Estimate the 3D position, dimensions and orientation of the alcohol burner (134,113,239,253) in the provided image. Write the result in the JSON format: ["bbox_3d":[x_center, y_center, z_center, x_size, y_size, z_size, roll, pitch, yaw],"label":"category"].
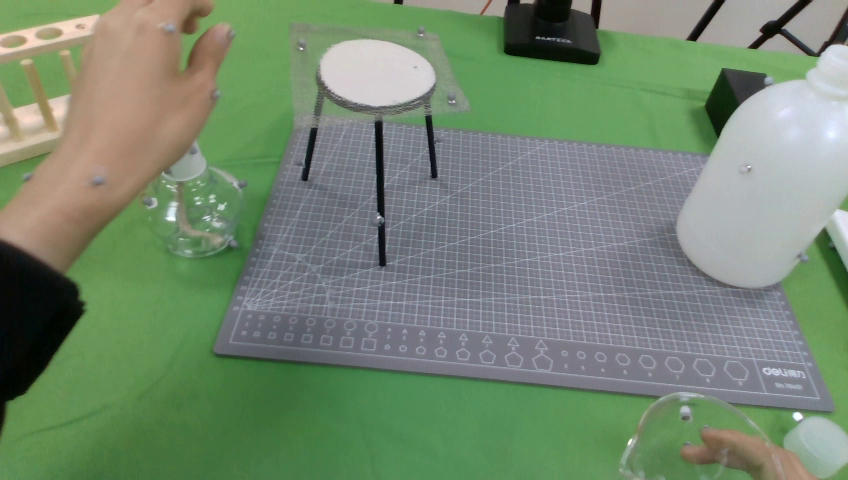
[{"bbox_3d":[-0.184,-0.047,0.463,0.078,0.120,0.077,5,45,-4],"label":"alcohol burner"}]

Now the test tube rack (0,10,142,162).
[{"bbox_3d":[-0.389,-0.120,0.526,0.242,0.086,0.066,-26,55,-28],"label":"test tube rack"}]

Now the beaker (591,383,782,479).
[{"bbox_3d":[0.134,0.139,0.339,0.084,0.101,0.073,-3,47,-8],"label":"beaker"}]

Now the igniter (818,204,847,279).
[{"bbox_3d":[0.372,0.071,0.481,0.057,0.025,0.274,15,46,-7],"label":"igniter"}]

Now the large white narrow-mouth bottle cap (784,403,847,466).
[{"bbox_3d":[0.269,0.133,0.415,0.038,0.024,0.037,3,46,-3],"label":"large white narrow-mouth bottle cap"}]

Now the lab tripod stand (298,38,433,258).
[{"bbox_3d":[-0.042,-0.080,0.495,0.148,0.132,0.147,5,48,-5],"label":"lab tripod stand"}]

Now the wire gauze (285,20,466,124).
[{"bbox_3d":[-0.040,-0.128,0.447,0.122,0.011,0.123,-4,49,-12],"label":"wire gauze"}]

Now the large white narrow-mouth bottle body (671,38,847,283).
[{"bbox_3d":[0.275,-0.061,0.474,0.102,0.196,0.101,3,46,-3],"label":"large white narrow-mouth bottle body"}]

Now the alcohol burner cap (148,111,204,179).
[{"bbox_3d":[-0.181,-0.070,0.436,0.034,0.048,0.033,2,53,-2],"label":"alcohol burner cap"}]

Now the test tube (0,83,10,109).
[{"bbox_3d":[-0.381,-0.173,0.508,0.017,0.151,0.017,4,42,-3],"label":"test tube"}]
